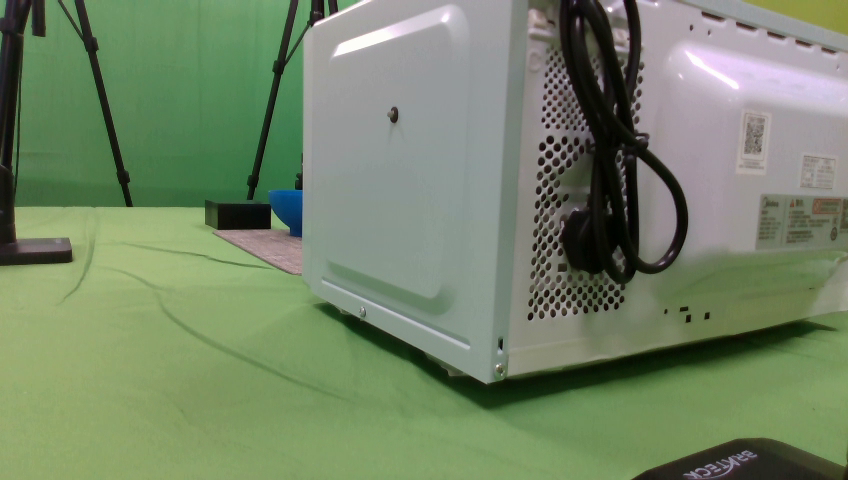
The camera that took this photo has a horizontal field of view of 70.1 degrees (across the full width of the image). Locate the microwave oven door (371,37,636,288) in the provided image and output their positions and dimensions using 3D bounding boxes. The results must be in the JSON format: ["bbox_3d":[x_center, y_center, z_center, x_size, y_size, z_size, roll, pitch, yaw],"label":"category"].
[{"bbox_3d":[0.109,-0.080,0.686,0.358,0.243,0.039,-2,9,-33],"label":"microwave oven door"}]

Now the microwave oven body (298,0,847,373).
[{"bbox_3d":[0.151,-0.055,0.543,0.444,0.260,0.324,-1,7,-33],"label":"microwave oven body"}]

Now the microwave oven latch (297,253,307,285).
[{"bbox_3d":[-0.082,0.027,0.582,0.079,0.029,0.030,-1,7,-32],"label":"microwave oven latch"}]

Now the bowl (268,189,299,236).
[{"bbox_3d":[-0.205,-0.049,1.090,0.151,0.077,0.151,3,7,0],"label":"bowl"}]
